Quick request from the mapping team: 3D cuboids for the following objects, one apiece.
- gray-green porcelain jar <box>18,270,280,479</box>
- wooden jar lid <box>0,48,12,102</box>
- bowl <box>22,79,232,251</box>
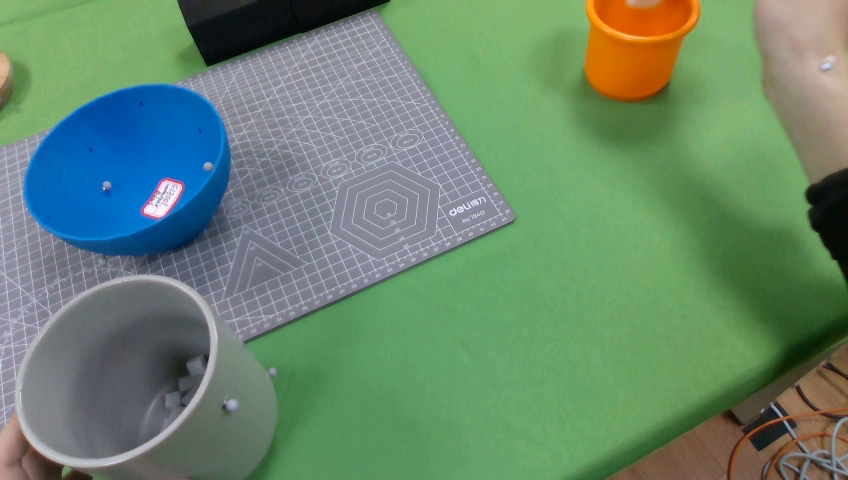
[{"bbox_3d":[-0.150,0.093,0.364,0.106,0.127,0.105,-3,58,5],"label":"gray-green porcelain jar"},{"bbox_3d":[-0.465,-0.155,0.605,0.108,0.021,0.107,-1,58,2],"label":"wooden jar lid"},{"bbox_3d":[-0.217,-0.046,0.479,0.151,0.077,0.150,-2,58,4],"label":"bowl"}]
